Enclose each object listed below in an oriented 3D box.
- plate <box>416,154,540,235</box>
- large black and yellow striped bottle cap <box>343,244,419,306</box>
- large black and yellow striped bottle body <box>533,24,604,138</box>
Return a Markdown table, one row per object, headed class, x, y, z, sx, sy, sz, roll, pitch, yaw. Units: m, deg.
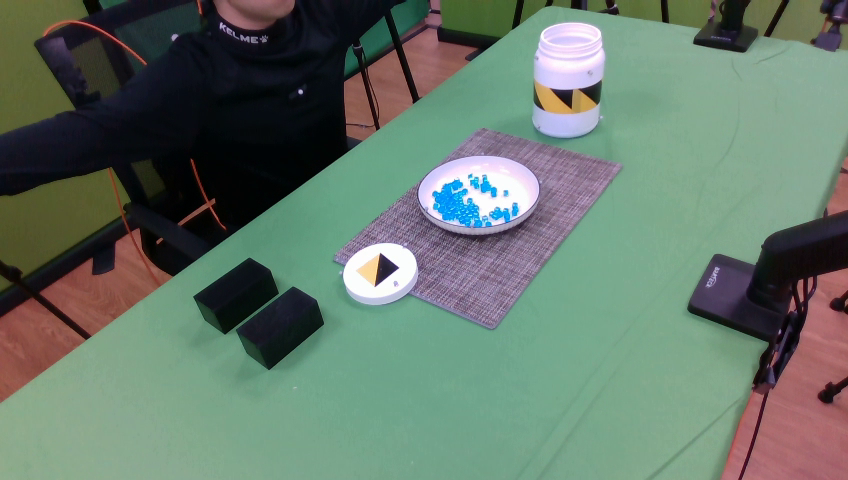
| class | x | y | z | sx | sy | sz | roll | pitch | yaw |
| --- | --- | --- | --- | --- | --- | --- | --- | --- | --- |
| plate | 0.090 | -0.074 | 1.025 | 0.207 | 0.039 | 0.206 | -4 | 41 | 4 |
| large black and yellow striped bottle cap | -0.066 | 0.051 | 0.918 | 0.115 | 0.019 | 0.114 | -6 | 43 | 6 |
| large black and yellow striped bottle body | 0.275 | -0.304 | 1.160 | 0.131 | 0.185 | 0.130 | -4 | 41 | 4 |
